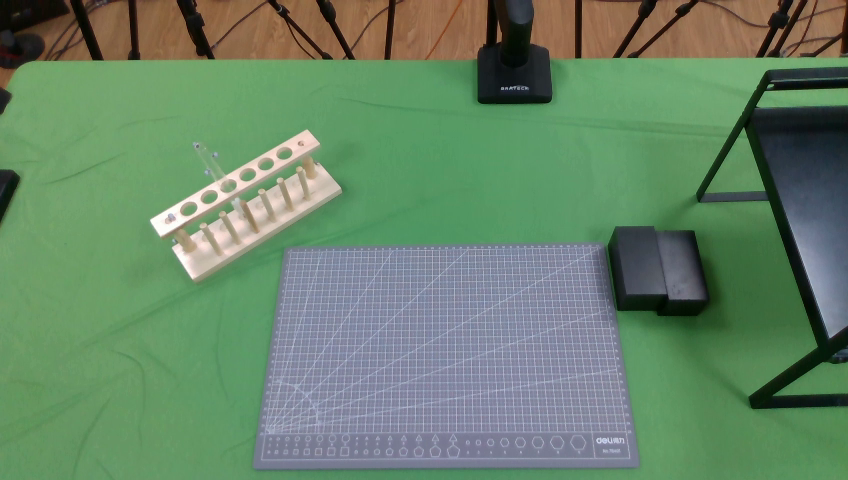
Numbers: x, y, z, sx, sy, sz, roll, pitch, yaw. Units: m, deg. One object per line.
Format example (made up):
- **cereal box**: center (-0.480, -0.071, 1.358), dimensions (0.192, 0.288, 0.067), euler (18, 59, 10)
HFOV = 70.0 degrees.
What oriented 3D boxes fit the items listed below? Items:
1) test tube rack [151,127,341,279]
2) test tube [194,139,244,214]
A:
- **test tube rack**: center (-0.241, -0.053, 0.848), dimensions (0.242, 0.086, 0.066), euler (-34, 64, -16)
- **test tube**: center (-0.268, -0.080, 0.808), dimensions (0.017, 0.151, 0.017), euler (-3, 58, 5)
